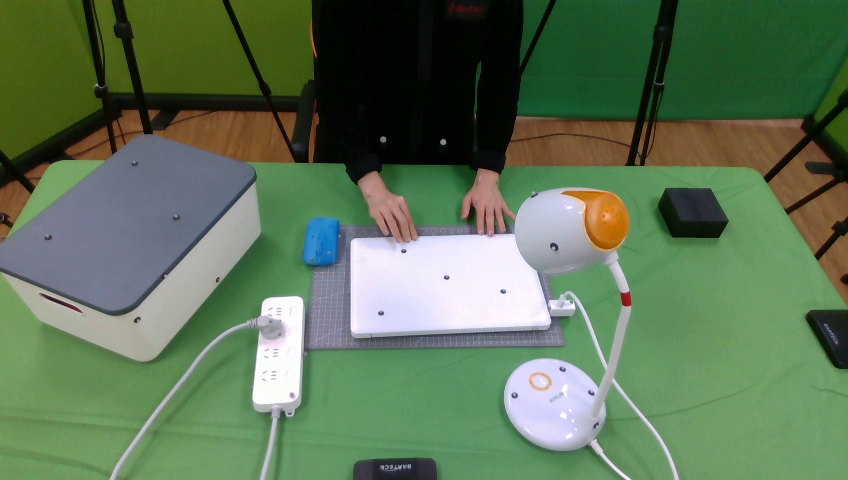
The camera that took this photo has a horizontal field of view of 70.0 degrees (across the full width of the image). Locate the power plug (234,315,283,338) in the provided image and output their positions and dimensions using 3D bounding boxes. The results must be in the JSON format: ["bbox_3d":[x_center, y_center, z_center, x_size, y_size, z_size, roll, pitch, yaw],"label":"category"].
[{"bbox_3d":[-0.269,0.143,1.000,0.072,0.053,0.035,4,47,2],"label":"power plug"}]

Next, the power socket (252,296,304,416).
[{"bbox_3d":[-0.238,0.181,0.997,0.072,0.033,0.225,-3,47,-5],"label":"power socket"}]

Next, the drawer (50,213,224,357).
[{"bbox_3d":[-0.492,0.075,1.057,0.194,0.073,0.211,18,57,10],"label":"drawer"}]

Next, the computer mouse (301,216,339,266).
[{"bbox_3d":[-0.200,-0.002,1.169,0.063,0.041,0.116,3,50,-3],"label":"computer mouse"}]

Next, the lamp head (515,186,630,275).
[{"bbox_3d":[0.188,-0.013,0.728,0.112,0.112,0.122,-25,9,-25],"label":"lamp head"}]

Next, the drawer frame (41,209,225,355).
[{"bbox_3d":[-0.490,0.066,1.043,0.201,0.083,0.212,16,54,13],"label":"drawer frame"}]

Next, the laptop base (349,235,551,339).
[{"bbox_3d":[0.039,0.081,1.124,0.355,0.023,0.234,-2,43,-6],"label":"laptop base"}]

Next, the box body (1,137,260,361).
[{"bbox_3d":[-0.482,0.006,1.056,0.254,0.161,0.362,17,47,12],"label":"box body"}]

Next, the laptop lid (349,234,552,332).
[{"bbox_3d":[0.040,0.071,1.117,0.357,0.013,0.240,0,44,-5],"label":"laptop lid"}]

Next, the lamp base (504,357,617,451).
[{"bbox_3d":[0.220,0.211,0.903,0.160,0.181,0.178,-32,59,-30],"label":"lamp base"}]

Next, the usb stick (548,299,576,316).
[{"bbox_3d":[0.239,0.121,1.084,0.059,0.027,0.021,-1,52,-1],"label":"usb stick"}]

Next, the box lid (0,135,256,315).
[{"bbox_3d":[-0.480,-0.044,1.002,0.263,0.015,0.370,18,47,12],"label":"box lid"}]
